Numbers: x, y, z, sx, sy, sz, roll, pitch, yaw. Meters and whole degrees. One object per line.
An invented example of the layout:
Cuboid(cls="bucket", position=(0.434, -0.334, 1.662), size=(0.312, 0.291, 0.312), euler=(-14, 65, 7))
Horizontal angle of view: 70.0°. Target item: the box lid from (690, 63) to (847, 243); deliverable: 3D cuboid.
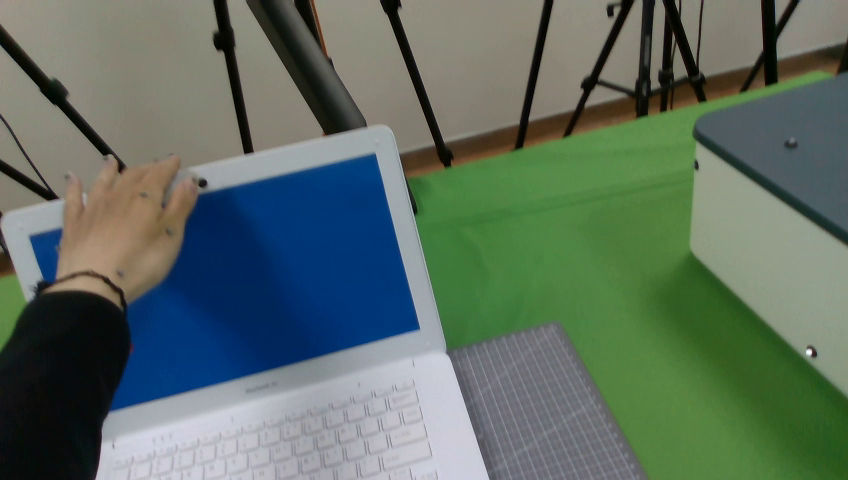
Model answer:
Cuboid(cls="box lid", position=(0.415, -0.050, 0.453), size=(0.263, 0.015, 0.367), euler=(-18, 38, -7))

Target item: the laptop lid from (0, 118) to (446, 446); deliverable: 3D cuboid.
Cuboid(cls="laptop lid", position=(-0.174, 0.041, 0.557), size=(0.357, 0.242, 0.013), euler=(-16, 9, -4))

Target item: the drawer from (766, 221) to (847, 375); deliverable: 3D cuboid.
Cuboid(cls="drawer", position=(0.433, 0.058, 0.492), size=(0.194, 0.074, 0.209), euler=(-17, 40, -3))

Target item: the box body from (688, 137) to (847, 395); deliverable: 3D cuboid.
Cuboid(cls="box body", position=(0.427, 0.007, 0.500), size=(0.254, 0.162, 0.360), euler=(-18, 38, -8))

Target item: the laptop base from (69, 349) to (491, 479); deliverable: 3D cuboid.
Cuboid(cls="laptop base", position=(-0.122, 0.221, 0.485), size=(0.354, 0.023, 0.233), euler=(-15, 41, -4))

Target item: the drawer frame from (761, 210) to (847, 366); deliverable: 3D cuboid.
Cuboid(cls="drawer frame", position=(0.434, 0.053, 0.488), size=(0.202, 0.083, 0.211), euler=(-14, 35, -6))
